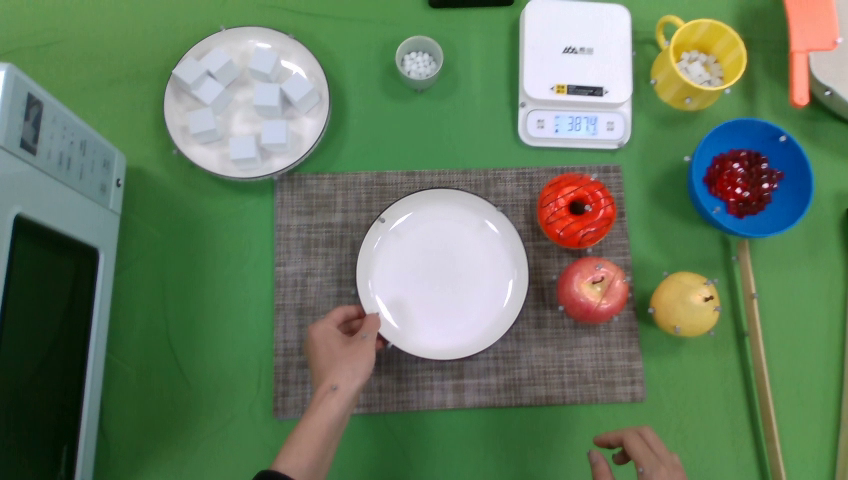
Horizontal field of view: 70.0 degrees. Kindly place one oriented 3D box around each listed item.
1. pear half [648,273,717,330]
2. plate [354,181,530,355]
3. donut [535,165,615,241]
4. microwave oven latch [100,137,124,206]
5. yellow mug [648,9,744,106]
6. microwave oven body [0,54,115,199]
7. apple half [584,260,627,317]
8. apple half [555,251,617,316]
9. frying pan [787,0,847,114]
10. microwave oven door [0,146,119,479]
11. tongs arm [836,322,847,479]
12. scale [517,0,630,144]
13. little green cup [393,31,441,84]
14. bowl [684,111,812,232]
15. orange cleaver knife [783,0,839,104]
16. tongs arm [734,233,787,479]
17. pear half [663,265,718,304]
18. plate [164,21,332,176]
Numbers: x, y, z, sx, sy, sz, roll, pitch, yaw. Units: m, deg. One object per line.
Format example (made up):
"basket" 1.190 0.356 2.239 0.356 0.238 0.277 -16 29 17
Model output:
"pear half" 0.305 0.076 0.712 0.076 0.110 0.056 29 79 8
"plate" 0.021 0.034 0.727 0.209 0.038 0.208 1 80 -4
"donut" 0.188 -0.046 0.761 0.099 0.048 0.098 0 79 0
"microwave oven latch" -0.384 -0.083 0.734 0.030 0.029 0.079 2 79 -2
"yellow mug" 0.347 -0.249 0.799 0.100 0.064 0.130 -34 81 -7
"microwave oven body" -0.530 0.069 0.600 0.326 0.261 0.440 1 79 -3
"apple half" 0.221 0.064 0.724 0.032 0.081 0.081 31 79 7
"apple half" 0.187 0.046 0.728 0.053 0.075 0.080 31 82 8
"frying pan" 0.675 -0.198 0.783 0.307 0.103 0.484 -29 73 -6
"microwave oven door" -0.385 0.111 0.592 0.039 0.244 0.354 0 78 -2
"tongs arm" 0.515 0.185 0.740 0.028 0.028 0.386 14 80 -6
"scale" 0.199 -0.229 0.807 0.149 0.031 0.200 2 79 -1
"little green cup" -0.009 -0.238 0.798 0.061 0.039 0.061 0 78 -2
"bowl" 0.390 -0.077 0.762 0.151 0.077 0.150 0 80 -2
"orange cleaver knife" 0.489 -0.274 0.772 0.077 0.012 0.210 2 79 1
"tongs arm" 0.429 0.180 0.735 0.051 0.026 0.383 -2 80 -6
"pear half" 0.324 0.049 0.728 0.070 0.088 0.031 28 80 6
"plate" -0.222 -0.178 0.778 0.208 0.039 0.206 1 79 -2
